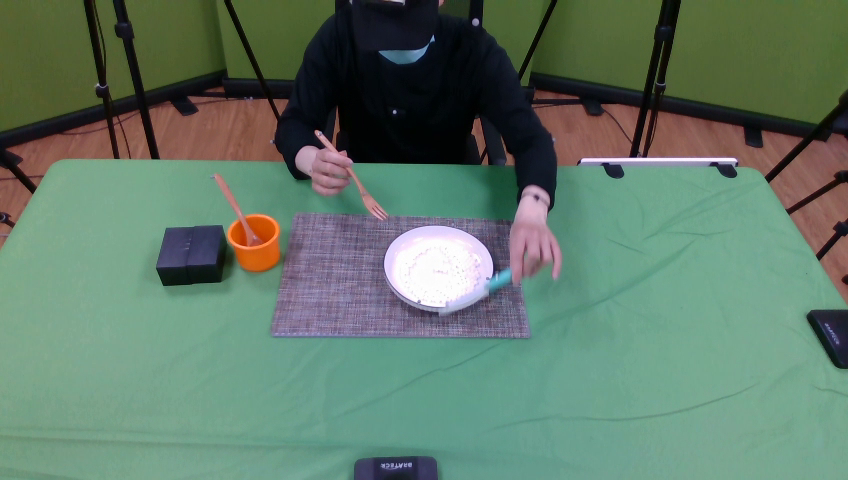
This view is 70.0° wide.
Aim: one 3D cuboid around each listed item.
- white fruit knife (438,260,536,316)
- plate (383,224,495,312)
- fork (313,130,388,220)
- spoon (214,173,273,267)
[{"bbox_3d":[0.107,0.079,1.007,0.207,0.027,0.016,-25,38,-27],"label":"white fruit knife"},{"bbox_3d":[0.026,0.055,1.128,0.209,0.038,0.208,2,46,-2],"label":"plate"},{"bbox_3d":[-0.137,-0.120,1.123,0.208,0.018,0.028,54,45,-11],"label":"fork"},{"bbox_3d":[-0.336,-0.037,1.121,0.041,0.194,0.021,-29,10,-25],"label":"spoon"}]
